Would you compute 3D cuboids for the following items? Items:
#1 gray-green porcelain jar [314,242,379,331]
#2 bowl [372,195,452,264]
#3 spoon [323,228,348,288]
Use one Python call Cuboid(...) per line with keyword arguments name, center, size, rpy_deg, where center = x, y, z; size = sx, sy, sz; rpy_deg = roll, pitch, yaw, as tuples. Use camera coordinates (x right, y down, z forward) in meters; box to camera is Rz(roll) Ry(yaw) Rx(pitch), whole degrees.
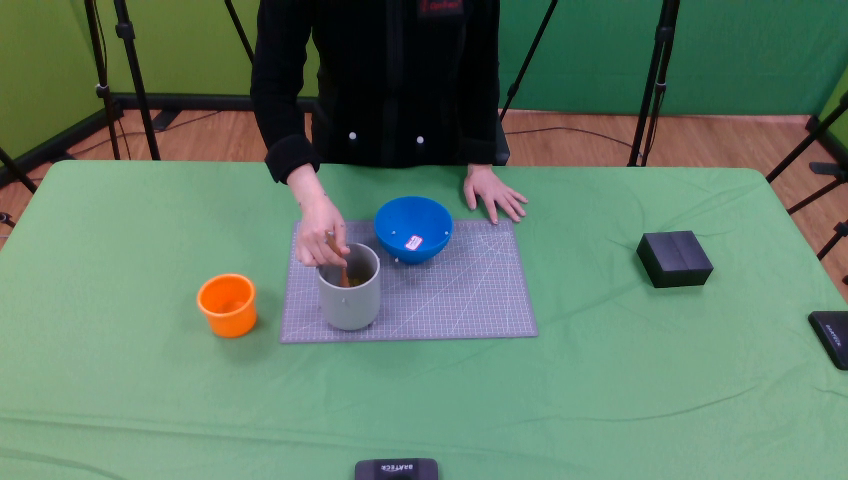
Cuboid(name="gray-green porcelain jar", center=(-0.129, 0.084, 1.031), size=(0.106, 0.127, 0.105), rpy_deg=(2, 46, -2))
Cuboid(name="bowl", center=(-0.023, -0.008, 1.161), size=(0.151, 0.077, 0.150), rpy_deg=(2, 46, -2))
Cuboid(name="spoon", center=(-0.140, 0.043, 0.994), size=(0.021, 0.195, 0.041), rpy_deg=(-33, 54, -23))
